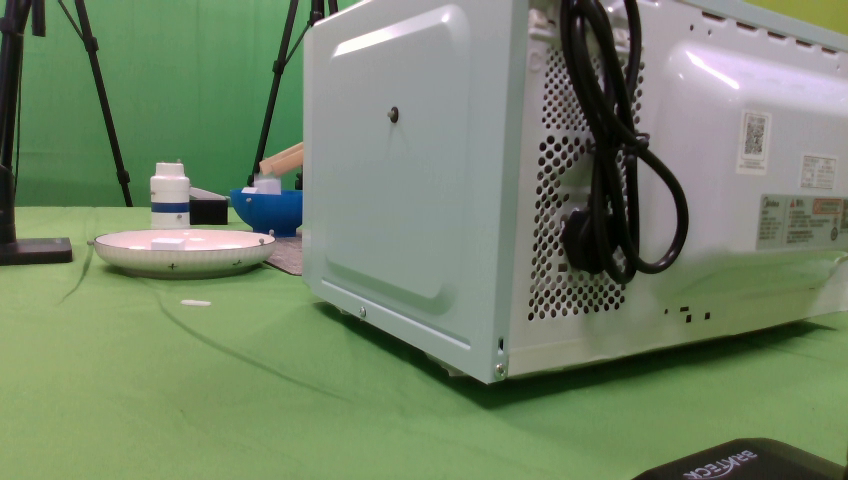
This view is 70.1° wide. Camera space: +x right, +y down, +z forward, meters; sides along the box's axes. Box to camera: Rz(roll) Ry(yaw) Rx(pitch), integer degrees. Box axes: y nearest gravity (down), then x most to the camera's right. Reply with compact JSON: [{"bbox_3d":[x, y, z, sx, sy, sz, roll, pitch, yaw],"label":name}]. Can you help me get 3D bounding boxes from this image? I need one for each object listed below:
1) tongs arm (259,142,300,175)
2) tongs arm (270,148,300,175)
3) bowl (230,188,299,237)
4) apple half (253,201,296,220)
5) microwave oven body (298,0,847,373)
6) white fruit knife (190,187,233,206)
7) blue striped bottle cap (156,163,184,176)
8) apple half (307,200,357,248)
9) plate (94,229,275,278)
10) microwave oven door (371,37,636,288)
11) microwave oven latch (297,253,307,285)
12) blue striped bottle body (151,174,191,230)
[{"bbox_3d":[-0.166,-0.215,1.201,0.050,0.026,0.386,2,29,38],"label":"tongs arm"},{"bbox_3d":[-0.147,-0.213,1.184,0.028,0.028,0.389,1,28,43],"label":"tongs arm"},{"bbox_3d":[-0.264,-0.048,1.066,0.151,0.077,0.151,3,8,0],"label":"bowl"},{"bbox_3d":[-0.264,-0.053,1.067,0.081,0.033,0.081,1,9,0],"label":"apple half"},{"bbox_3d":[0.151,-0.055,0.543,0.444,0.260,0.324,-1,8,-33],"label":"microwave oven body"},{"bbox_3d":[-0.413,-0.081,1.270,0.208,0.027,0.016,17,13,-41],"label":"white fruit knife"},{"bbox_3d":[-0.438,-0.122,1.045,0.044,0.020,0.044,4,6,0],"label":"blue striped bottle cap"},{"bbox_3d":[-0.136,-0.024,0.942,0.053,0.074,0.081,15,10,38],"label":"apple half"},{"bbox_3d":[-0.291,0.016,0.750,0.208,0.039,0.207,2,7,0],"label":"plate"},{"bbox_3d":[0.109,-0.080,0.686,0.358,0.243,0.039,-2,9,-33],"label":"microwave oven door"},{"bbox_3d":[-0.082,0.027,0.582,0.079,0.029,0.030,-1,7,-33],"label":"microwave oven latch"},{"bbox_3d":[-0.439,-0.071,1.052,0.063,0.120,0.063,2,7,0],"label":"blue striped bottle body"}]
